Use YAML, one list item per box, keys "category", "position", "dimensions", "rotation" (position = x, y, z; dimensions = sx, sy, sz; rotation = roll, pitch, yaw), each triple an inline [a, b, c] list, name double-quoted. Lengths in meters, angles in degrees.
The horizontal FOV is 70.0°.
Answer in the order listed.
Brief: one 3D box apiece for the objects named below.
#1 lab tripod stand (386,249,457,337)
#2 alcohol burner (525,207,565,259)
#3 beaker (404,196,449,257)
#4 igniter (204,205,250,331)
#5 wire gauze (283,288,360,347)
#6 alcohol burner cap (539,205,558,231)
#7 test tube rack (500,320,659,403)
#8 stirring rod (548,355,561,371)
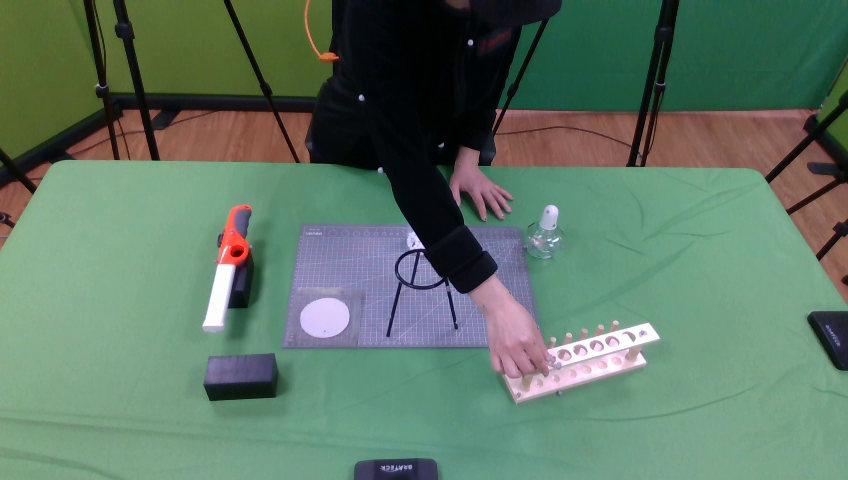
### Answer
- category: "lab tripod stand"
  position: [-0.010, 0.087, 1.032]
  dimensions: [0.148, 0.132, 0.147]
  rotation: [1, 45, -1]
- category: "alcohol burner"
  position: [0.236, -0.020, 1.174]
  dimensions: [0.078, 0.120, 0.077]
  rotation: [1, 48, -1]
- category: "beaker"
  position: [0.002, -0.023, 1.164]
  dimensions: [0.084, 0.101, 0.073]
  rotation: [6, 46, 0]
- category: "igniter"
  position: [-0.344, 0.039, 1.064]
  dimensions: [0.057, 0.025, 0.274]
  rotation: [2, 48, -6]
- category: "wire gauze"
  position: [-0.177, 0.132, 1.062]
  dimensions: [0.125, 0.011, 0.120]
  rotation: [2, 47, 1]
- category: "alcohol burner cap"
  position: [0.239, -0.045, 1.148]
  dimensions: [0.034, 0.048, 0.033]
  rotation: [2, 42, -1]
- category: "test tube rack"
  position: [0.253, 0.187, 0.994]
  dimensions: [0.243, 0.085, 0.066]
  rotation: [-12, 48, -15]
- category: "stirring rod"
  position: [0.192, 0.182, 0.908]
  dimensions: [0.006, 0.176, 0.014]
  rotation: [-31, 81, 3]
